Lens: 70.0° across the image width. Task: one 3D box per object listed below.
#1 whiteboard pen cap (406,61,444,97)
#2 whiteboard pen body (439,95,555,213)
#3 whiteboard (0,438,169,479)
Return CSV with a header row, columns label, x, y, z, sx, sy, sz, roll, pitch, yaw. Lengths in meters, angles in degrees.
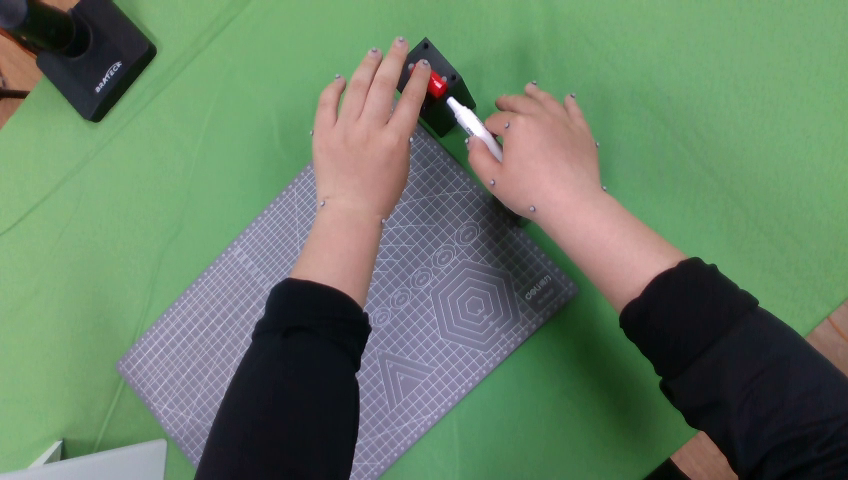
label,x,y,z,sx,sy,sz,roll,pitch,yaw
whiteboard pen cap,0.001,-0.141,0.532,0.032,0.017,0.017,41,97,9
whiteboard pen body,0.061,-0.077,0.521,0.017,0.017,0.140,-44,80,8
whiteboard,-0.443,0.316,0.602,0.143,0.307,0.217,7,90,32
